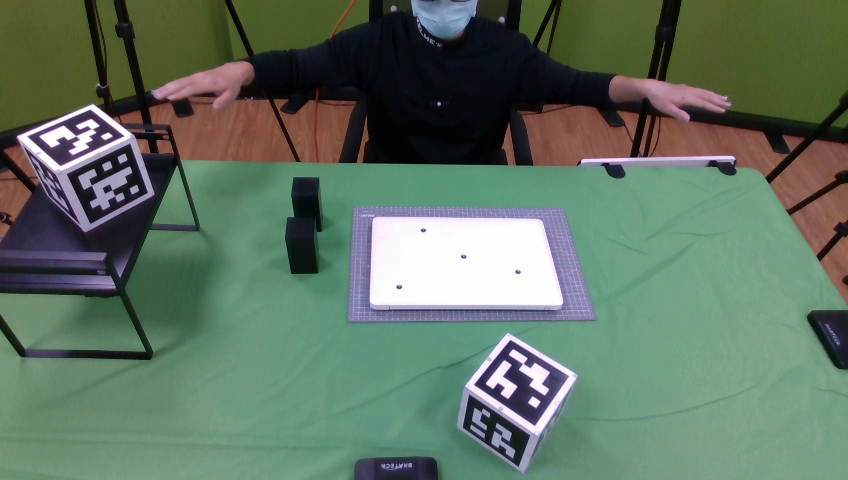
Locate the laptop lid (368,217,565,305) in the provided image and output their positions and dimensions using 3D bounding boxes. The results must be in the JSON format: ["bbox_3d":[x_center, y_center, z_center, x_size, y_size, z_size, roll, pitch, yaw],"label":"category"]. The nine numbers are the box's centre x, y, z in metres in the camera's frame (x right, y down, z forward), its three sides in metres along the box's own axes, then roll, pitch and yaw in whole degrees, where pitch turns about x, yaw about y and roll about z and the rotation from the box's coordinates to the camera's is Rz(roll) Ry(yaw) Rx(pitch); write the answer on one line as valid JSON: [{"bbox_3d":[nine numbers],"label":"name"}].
[{"bbox_3d":[0.074,0.034,1.152,0.357,0.013,0.240,2,44,-2],"label":"laptop lid"}]

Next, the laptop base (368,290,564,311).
[{"bbox_3d":[0.074,0.044,1.160,0.354,0.023,0.234,0,43,-3],"label":"laptop base"}]
